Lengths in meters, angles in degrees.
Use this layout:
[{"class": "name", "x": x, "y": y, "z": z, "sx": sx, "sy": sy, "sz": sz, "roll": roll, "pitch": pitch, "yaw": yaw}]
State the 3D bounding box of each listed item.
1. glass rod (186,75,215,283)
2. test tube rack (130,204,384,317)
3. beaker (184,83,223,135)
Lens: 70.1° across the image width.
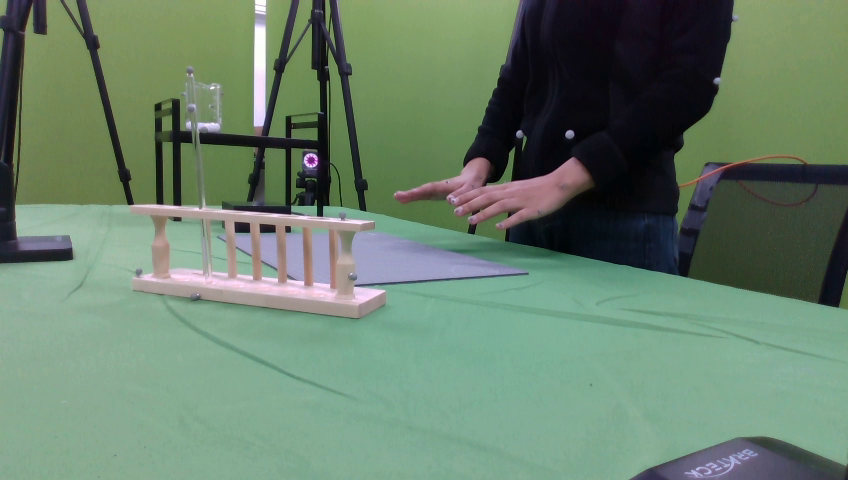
[{"class": "glass rod", "x": -0.210, "y": -0.052, "z": 0.568, "sx": 0.008, "sy": 0.199, "sz": 0.008, "roll": -1, "pitch": 15, "yaw": 1}, {"class": "test tube rack", "x": -0.163, "y": 0.013, "z": 0.589, "sx": 0.242, "sy": 0.085, "sz": 0.067, "roll": 4, "pitch": 8, "yaw": 17}, {"class": "beaker", "x": -0.456, "y": -0.271, "z": 1.256, "sx": 0.074, "sy": 0.100, "sz": 0.083, "roll": -3, "pitch": 9, "yaw": -33}]
